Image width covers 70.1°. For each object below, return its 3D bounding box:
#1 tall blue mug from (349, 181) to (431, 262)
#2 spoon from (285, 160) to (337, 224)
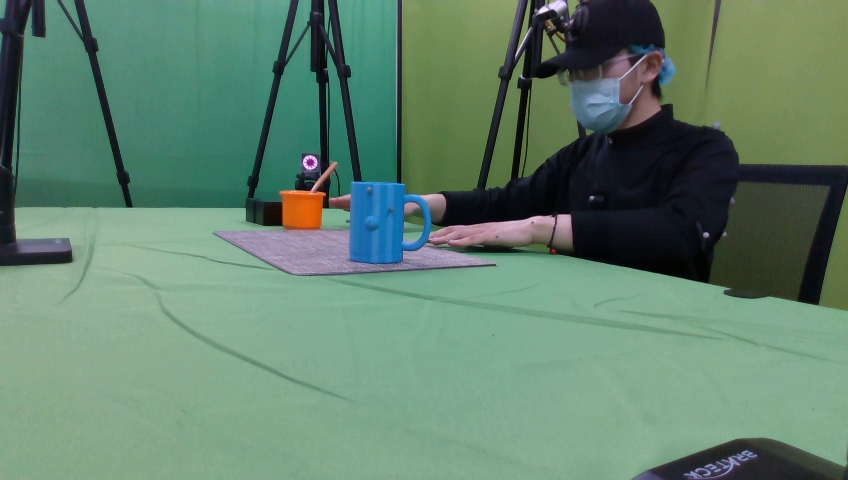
[{"bbox_3d":[-0.051,-0.028,0.849,0.108,0.108,0.077,-1,7,-22],"label":"tall blue mug"},{"bbox_3d":[-0.229,-0.101,1.251,0.041,0.194,0.022,4,-37,34],"label":"spoon"}]
